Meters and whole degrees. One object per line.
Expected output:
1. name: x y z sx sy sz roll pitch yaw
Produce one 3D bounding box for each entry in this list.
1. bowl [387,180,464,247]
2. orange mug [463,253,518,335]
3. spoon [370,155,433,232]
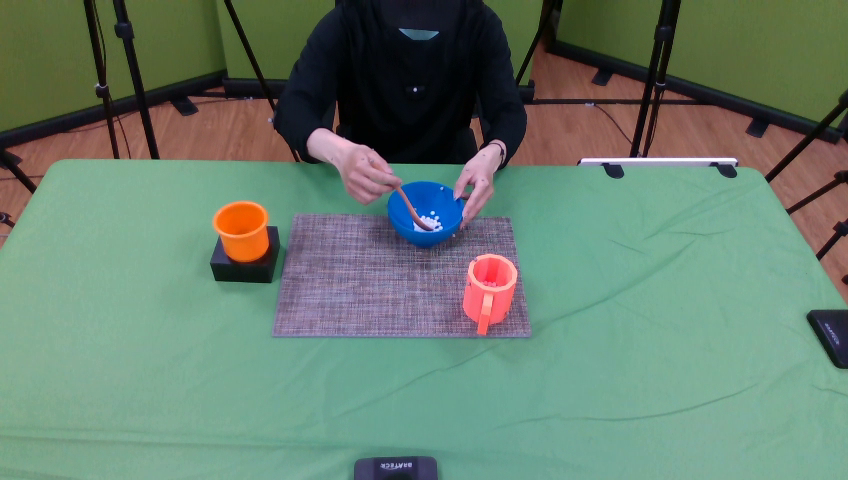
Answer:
1. bowl: 0.002 -0.040 1.190 0.151 0.077 0.150 2 46 -2
2. orange mug: 0.113 0.098 1.050 0.083 0.101 0.125 10 42 6
3. spoon: -0.041 -0.085 1.129 0.021 0.195 0.041 -29 27 11
